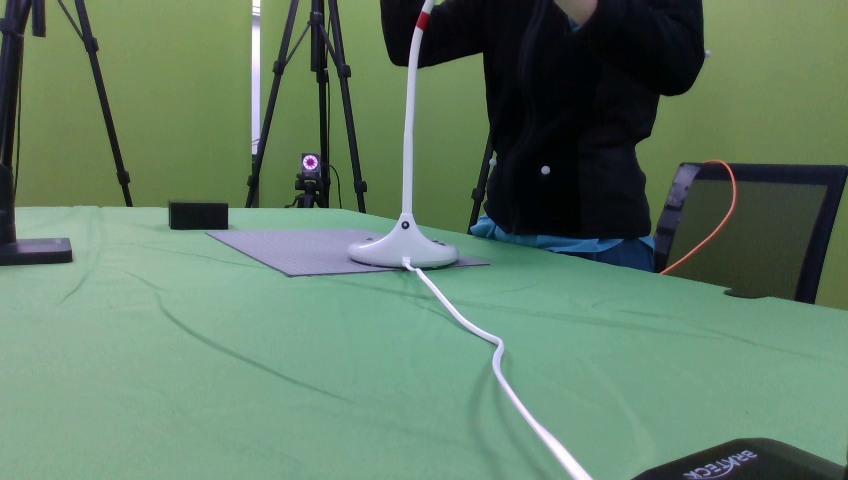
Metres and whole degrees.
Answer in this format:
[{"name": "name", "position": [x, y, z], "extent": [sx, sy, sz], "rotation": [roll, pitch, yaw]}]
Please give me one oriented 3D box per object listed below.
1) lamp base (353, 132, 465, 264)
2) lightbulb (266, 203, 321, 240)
[{"name": "lamp base", "position": [-0.014, -0.062, 0.851], "extent": [0.161, 0.180, 0.178], "rotation": [-1, 11, -20]}, {"name": "lightbulb", "position": [-0.224, -0.026, 1.032], "extent": [0.059, 0.059, 0.108], "rotation": [8, 24, 37]}]
